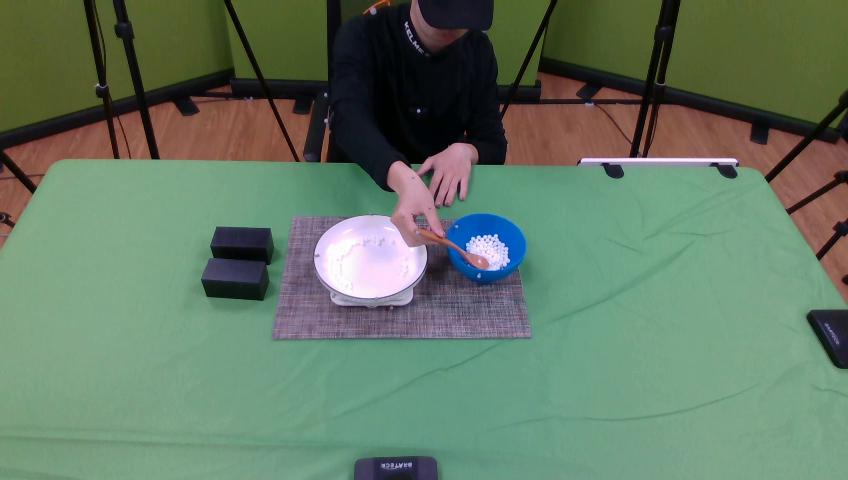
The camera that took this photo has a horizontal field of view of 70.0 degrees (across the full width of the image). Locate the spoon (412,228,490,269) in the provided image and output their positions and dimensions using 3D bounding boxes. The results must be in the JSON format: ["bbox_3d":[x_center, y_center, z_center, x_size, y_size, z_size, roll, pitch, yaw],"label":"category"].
[{"bbox_3d":[0.050,0.012,1.074,0.195,0.021,0.041,29,27,-40],"label":"spoon"}]

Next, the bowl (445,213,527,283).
[{"bbox_3d":[0.111,0.027,1.137,0.151,0.077,0.150,2,46,-2],"label":"bowl"}]

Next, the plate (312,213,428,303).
[{"bbox_3d":[-0.097,0.035,1.100,0.209,0.038,0.208,2,46,-1],"label":"plate"}]

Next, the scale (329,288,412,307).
[{"bbox_3d":[-0.098,0.042,1.139,0.149,0.032,0.199,1,46,-4],"label":"scale"}]
